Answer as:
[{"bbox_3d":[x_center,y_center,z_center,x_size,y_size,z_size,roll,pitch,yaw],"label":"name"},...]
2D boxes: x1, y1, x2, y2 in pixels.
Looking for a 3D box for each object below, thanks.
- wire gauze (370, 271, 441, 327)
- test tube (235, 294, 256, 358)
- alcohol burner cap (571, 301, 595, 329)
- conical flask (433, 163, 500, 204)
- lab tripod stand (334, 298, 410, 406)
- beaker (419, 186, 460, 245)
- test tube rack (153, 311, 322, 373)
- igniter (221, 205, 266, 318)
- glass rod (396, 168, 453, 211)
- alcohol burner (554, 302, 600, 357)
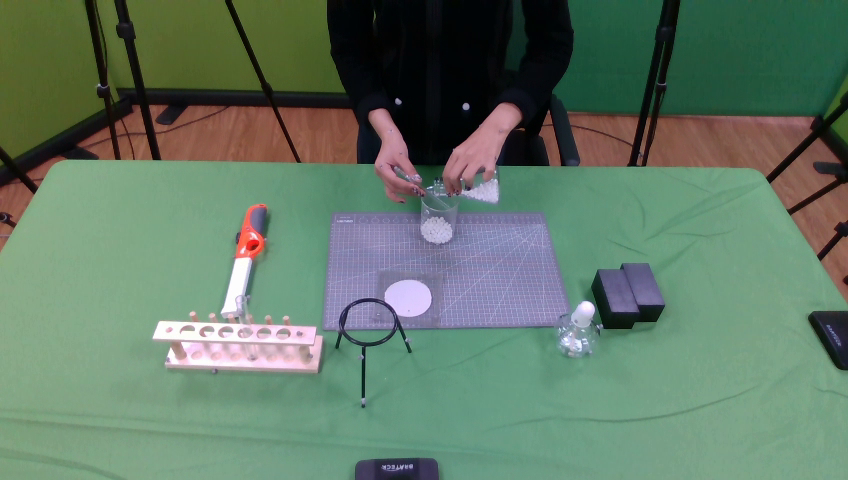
[{"bbox_3d":[-0.032,0.103,1.104,0.125,0.011,0.121,4,46,3],"label":"wire gauze"},{"bbox_3d":[-0.274,0.136,0.933,0.017,0.151,0.017,4,45,-4],"label":"test tube"},{"bbox_3d":[0.262,0.120,0.991,0.034,0.048,0.033,2,52,-2],"label":"alcohol burner cap"},{"bbox_3d":[0.078,-0.101,1.116,0.122,0.076,0.075,-2,46,7],"label":"conical flask"},{"bbox_3d":[-0.085,0.164,0.957,0.148,0.132,0.147,3,44,-2],"label":"lab tripod stand"},{"bbox_3d":[0.025,-0.047,1.190,0.074,0.101,0.083,-29,54,-29],"label":"beaker"},{"bbox_3d":[-0.293,0.160,0.978,0.242,0.085,0.066,3,46,-2],"label":"test tube rack"},{"bbox_3d":[-0.338,0.030,1.140,0.057,0.025,0.274,-5,46,3],"label":"igniter"},{"bbox_3d":[0.005,-0.090,1.118,0.008,0.201,0.008,-13,65,29],"label":"glass rod"},{"bbox_3d":[0.260,0.143,1.018,0.078,0.119,0.077,3,45,-3],"label":"alcohol burner"}]
